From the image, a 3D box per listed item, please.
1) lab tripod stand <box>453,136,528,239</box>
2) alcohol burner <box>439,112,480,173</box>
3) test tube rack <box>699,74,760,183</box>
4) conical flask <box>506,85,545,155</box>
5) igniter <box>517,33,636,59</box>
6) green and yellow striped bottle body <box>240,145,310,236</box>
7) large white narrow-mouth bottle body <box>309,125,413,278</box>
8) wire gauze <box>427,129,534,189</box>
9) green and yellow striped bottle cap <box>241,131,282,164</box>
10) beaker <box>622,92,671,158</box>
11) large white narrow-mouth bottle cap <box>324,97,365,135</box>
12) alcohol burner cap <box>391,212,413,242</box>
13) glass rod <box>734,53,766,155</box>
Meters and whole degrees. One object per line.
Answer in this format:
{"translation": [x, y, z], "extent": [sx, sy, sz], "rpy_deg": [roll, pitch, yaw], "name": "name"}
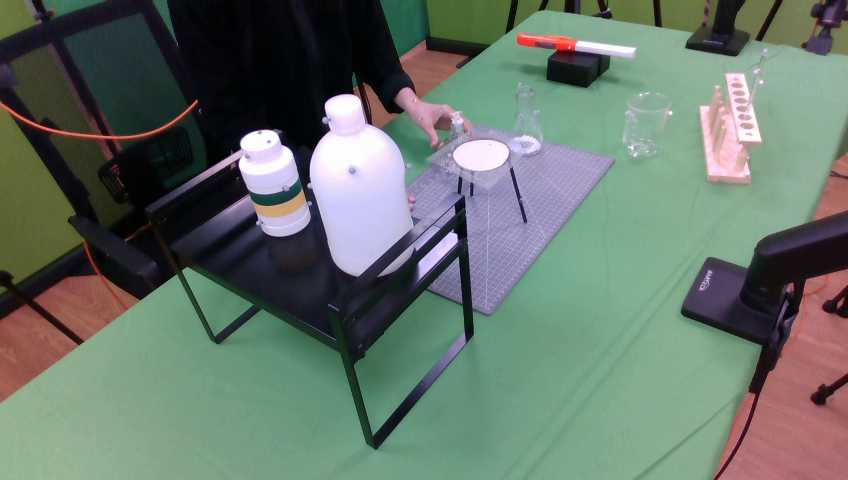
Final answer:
{"translation": [0.094, -0.086, 0.974], "extent": [0.148, 0.132, 0.147], "rpy_deg": [-4, 43, 4], "name": "lab tripod stand"}
{"translation": [0.064, -0.183, 1.107], "extent": [0.078, 0.119, 0.077], "rpy_deg": [-4, 43, 4], "name": "alcohol burner"}
{"translation": [0.547, -0.208, 1.095], "extent": [0.066, 0.085, 0.242], "rpy_deg": [6, 42, 16], "name": "test tube rack"}
{"translation": [0.190, -0.227, 1.134], "extent": [0.075, 0.122, 0.075], "rpy_deg": [-4, 41, 4], "name": "conical flask"}
{"translation": [0.336, -0.441, 1.369], "extent": [0.275, 0.025, 0.057], "rpy_deg": [16, 41, 23], "name": "igniter"}
{"translation": [-0.181, -0.068, 0.729], "extent": [0.063, 0.120, 0.063], "rpy_deg": [-4, 40, 4], "name": "green and yellow striped bottle body"}
{"translation": [-0.069, -0.057, 0.644], "extent": [0.102, 0.195, 0.101], "rpy_deg": [-3, 42, 4], "name": "large white narrow-mouth bottle body"}
{"translation": [0.086, -0.131, 0.923], "extent": [0.124, 0.011, 0.122], "rpy_deg": [26, 52, 33], "name": "wire gauze"}
{"translation": [-0.187, -0.107, 0.695], "extent": [0.045, 0.020, 0.045], "rpy_deg": [-3, 39, 3], "name": "green and yellow striped bottle cap"}
{"translation": [0.402, -0.210, 1.106], "extent": [0.074, 0.101, 0.083], "rpy_deg": [-9, 40, -2], "name": "beaker"}
{"translation": [-0.076, -0.120, 0.585], "extent": [0.038, 0.024, 0.037], "rpy_deg": [-3, 42, 3], "name": "large white narrow-mouth bottle cap"}
{"translation": [-0.038, -0.023, 0.990], "extent": [0.034, 0.048, 0.033], "rpy_deg": [-5, 40, 4], "name": "alcohol burner cap"}
{"translation": [0.540, -0.219, 1.006], "extent": [0.008, 0.201, 0.008], "rpy_deg": [-5, 45, 6], "name": "glass rod"}
